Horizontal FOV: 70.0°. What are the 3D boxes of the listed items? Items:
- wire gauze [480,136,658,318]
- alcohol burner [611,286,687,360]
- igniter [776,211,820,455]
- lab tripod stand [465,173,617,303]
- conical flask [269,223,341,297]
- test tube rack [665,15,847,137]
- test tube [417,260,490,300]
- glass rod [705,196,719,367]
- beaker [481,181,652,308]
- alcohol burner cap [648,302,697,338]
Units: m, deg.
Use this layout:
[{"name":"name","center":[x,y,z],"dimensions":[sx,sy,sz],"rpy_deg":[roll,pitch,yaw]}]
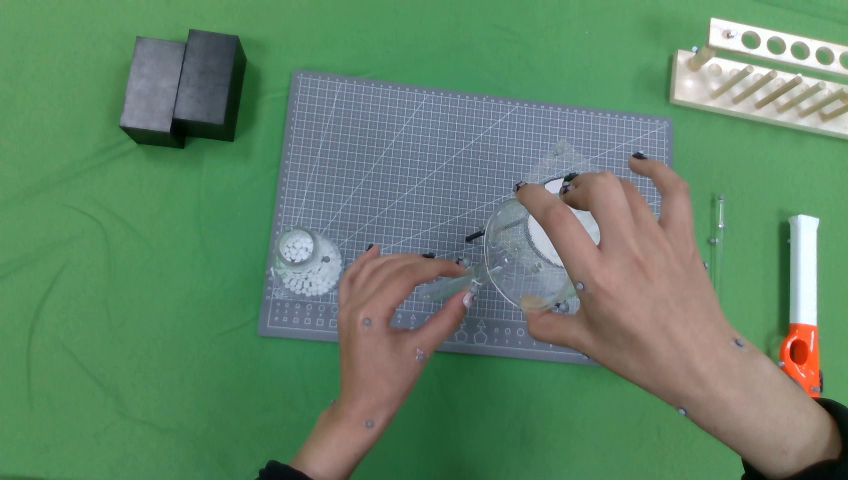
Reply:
[{"name":"wire gauze","center":[0.133,-0.015,0.552],"dimensions":[0.125,0.011,0.121],"rpy_deg":[43,80,2]},{"name":"alcohol burner","center":[0.241,0.084,0.626],"dimensions":[0.078,0.119,0.077],"rpy_deg":[1,79,-4]},{"name":"igniter","center":[0.427,0.103,0.691],"dimensions":[0.057,0.025,0.275],"rpy_deg":[10,79,-16]},{"name":"lab tripod stand","center":[0.123,-0.006,0.618],"dimensions":[0.148,0.131,0.148],"rpy_deg":[1,81,-5]},{"name":"conical flask","center":[-0.120,0.014,0.591],"dimensions":[0.075,0.122,0.075],"rpy_deg":[1,80,-6]},{"name":"test tube rack","center":[0.421,-0.188,0.711],"dimensions":[0.243,0.085,0.066],"rpy_deg":[10,79,-5]},{"name":"test tube","center":[0.020,0.035,0.489],"dimensions":[0.017,0.150,0.017],"rpy_deg":[3,79,-15]},{"name":"glass rod","center":[0.333,0.046,0.700],"dimensions":[0.008,0.008,0.199],"rpy_deg":[8,82,-5]},{"name":"beaker","center":[0.099,0.000,0.415],"dimensions":[0.101,0.084,0.073],"rpy_deg":[-12,80,-37]},{"name":"alcohol burner cap","center":[0.246,0.076,0.591],"dimensions":[0.034,0.048,0.033],"rpy_deg":[3,73,-10]}]
